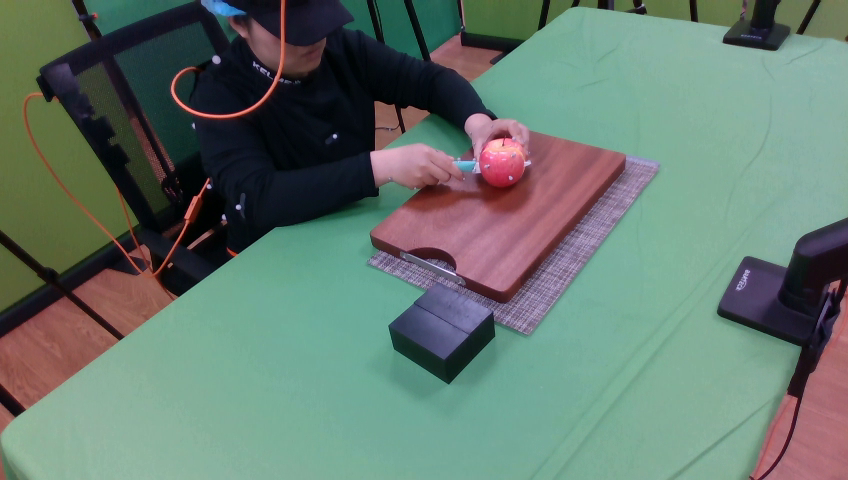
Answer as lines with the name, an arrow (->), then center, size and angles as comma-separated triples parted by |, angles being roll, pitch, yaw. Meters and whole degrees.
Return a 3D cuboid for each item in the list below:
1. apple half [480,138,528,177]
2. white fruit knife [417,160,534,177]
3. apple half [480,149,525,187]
apple half -> 0.139, -0.141, 1.043 | 0.080, 0.075, 0.053 | -2, 35, 15
white fruit knife -> 0.084, -0.126, 1.036 | 0.206, 0.027, 0.016 | -3, 42, 17
apple half -> 0.131, -0.114, 1.012 | 0.081, 0.081, 0.032 | 1, 42, 13
